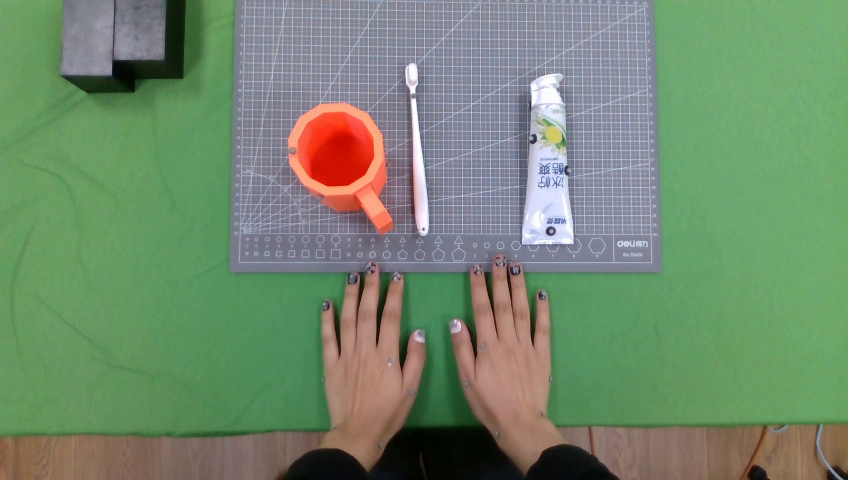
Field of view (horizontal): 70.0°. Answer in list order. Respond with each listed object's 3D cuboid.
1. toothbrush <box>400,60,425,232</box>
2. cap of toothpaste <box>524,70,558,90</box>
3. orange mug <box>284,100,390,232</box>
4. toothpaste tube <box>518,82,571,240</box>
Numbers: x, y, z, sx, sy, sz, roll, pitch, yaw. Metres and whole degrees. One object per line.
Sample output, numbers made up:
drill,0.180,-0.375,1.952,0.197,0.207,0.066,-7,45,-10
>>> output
toothbrush,-0.011,-0.099,0.632,0.014,0.016,0.181,-4,87,-17
cap of toothpaste,0.123,-0.165,0.632,0.037,0.037,0.011,-13,83,-4
orange mug,-0.074,-0.065,0.586,0.083,0.101,0.126,-34,83,-4
toothpaste tube,0.124,-0.083,0.632,0.055,0.034,0.165,-2,89,5
